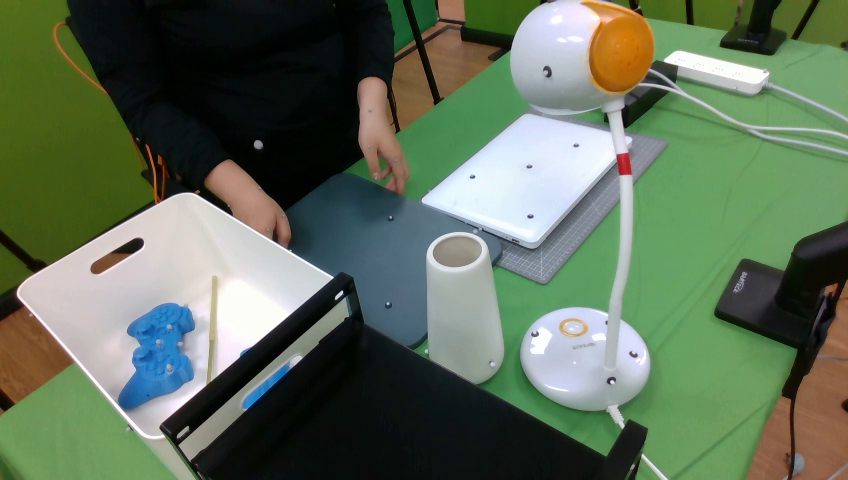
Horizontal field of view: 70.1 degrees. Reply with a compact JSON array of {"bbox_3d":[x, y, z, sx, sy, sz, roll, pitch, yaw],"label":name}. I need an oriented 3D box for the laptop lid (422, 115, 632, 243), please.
[{"bbox_3d":[0.189,-0.126,1.081,0.239,0.013,0.358,23,48,35],"label":"laptop lid"}]

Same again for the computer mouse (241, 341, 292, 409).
[{"bbox_3d":[-0.201,0.177,0.776,0.063,0.041,0.116,-11,44,-8],"label":"computer mouse"}]

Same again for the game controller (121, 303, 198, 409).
[{"bbox_3d":[-0.364,0.149,0.828,0.097,0.052,0.154,-13,41,-9],"label":"game controller"}]

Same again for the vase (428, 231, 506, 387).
[{"bbox_3d":[0.050,0.087,0.728,0.098,0.201,0.097,-3,40,3],"label":"vase"}]

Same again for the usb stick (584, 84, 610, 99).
[{"bbox_3d":[0.354,-0.306,1.252,0.027,0.021,0.058,-3,1,-39],"label":"usb stick"}]

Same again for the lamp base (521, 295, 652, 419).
[{"bbox_3d":[0.201,0.095,0.710,0.161,0.181,0.178,-16,43,-10],"label":"lamp base"}]

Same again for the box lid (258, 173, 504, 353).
[{"bbox_3d":[-0.085,0.017,0.961,0.368,0.015,0.264,25,51,29],"label":"box lid"}]

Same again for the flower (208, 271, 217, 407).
[{"bbox_3d":[-0.286,0.160,0.819,0.044,0.038,0.359,6,36,-23],"label":"flower"}]

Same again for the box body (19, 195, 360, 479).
[{"bbox_3d":[-0.288,0.118,0.772,0.361,0.161,0.255,26,50,33],"label":"box body"}]

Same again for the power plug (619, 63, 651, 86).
[{"bbox_3d":[0.435,-0.341,1.266,0.035,0.053,0.072,5,31,-14],"label":"power plug"}]

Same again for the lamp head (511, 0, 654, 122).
[{"bbox_3d":[0.155,-0.168,0.563,0.113,0.113,0.122,-18,23,-12],"label":"lamp head"}]

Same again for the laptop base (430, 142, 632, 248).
[{"bbox_3d":[0.192,-0.117,1.087,0.233,0.023,0.355,21,47,34],"label":"laptop base"}]

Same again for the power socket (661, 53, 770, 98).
[{"bbox_3d":[0.617,-0.355,1.292,0.225,0.033,0.072,29,53,35],"label":"power socket"}]
